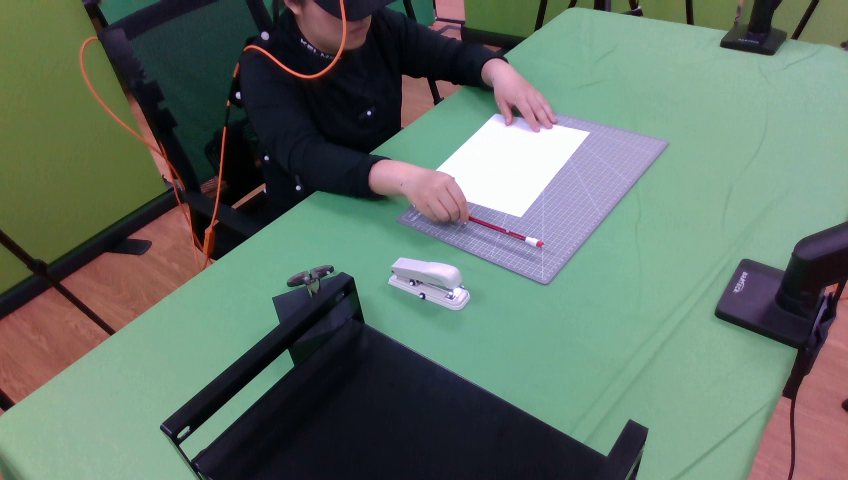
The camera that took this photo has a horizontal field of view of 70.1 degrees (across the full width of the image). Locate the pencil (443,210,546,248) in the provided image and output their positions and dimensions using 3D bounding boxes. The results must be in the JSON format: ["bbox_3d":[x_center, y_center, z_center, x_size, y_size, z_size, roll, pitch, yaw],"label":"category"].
[{"bbox_3d":[0.108,-0.021,0.968,0.192,0.012,0.012,21,48,32],"label":"pencil"}]

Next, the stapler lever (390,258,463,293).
[{"bbox_3d":[0.003,0.046,0.881,0.117,0.040,0.027,17,44,29],"label":"stapler lever"}]

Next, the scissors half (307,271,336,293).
[{"bbox_3d":[-0.152,0.061,0.872,0.040,0.013,0.175,-3,5,-4],"label":"scissors half"}]

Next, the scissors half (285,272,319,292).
[{"bbox_3d":[-0.171,0.063,0.868,0.040,0.013,0.174,-10,7,-21],"label":"scissors half"}]

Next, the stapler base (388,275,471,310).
[{"bbox_3d":[0.007,0.066,0.897,0.129,0.024,0.041,17,43,29],"label":"stapler base"}]
